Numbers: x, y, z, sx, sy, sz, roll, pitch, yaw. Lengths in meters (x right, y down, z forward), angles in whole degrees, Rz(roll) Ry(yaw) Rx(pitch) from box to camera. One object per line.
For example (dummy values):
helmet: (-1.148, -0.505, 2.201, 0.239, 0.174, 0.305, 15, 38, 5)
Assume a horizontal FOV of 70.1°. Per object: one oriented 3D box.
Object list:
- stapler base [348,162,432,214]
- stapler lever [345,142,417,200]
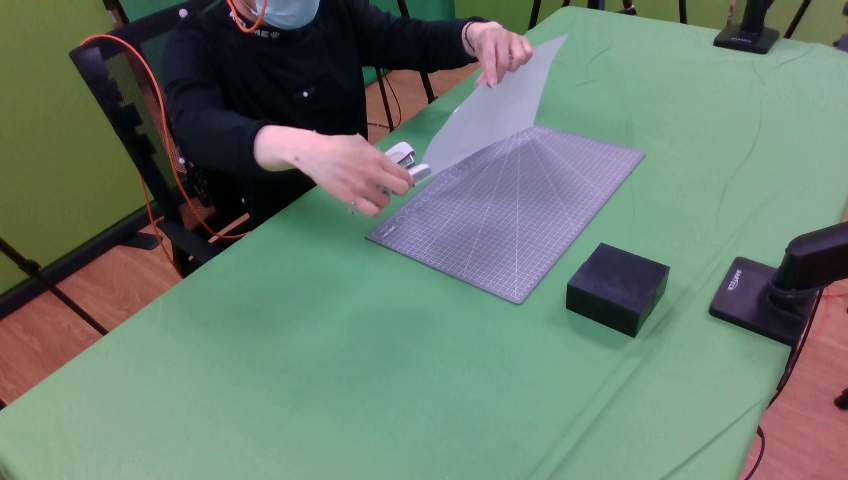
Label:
stapler base: (-0.052, -0.080, 0.869, 0.130, 0.041, 0.024, -30, 75, 3)
stapler lever: (-0.064, -0.100, 0.873, 0.118, 0.027, 0.040, -28, 76, 3)
